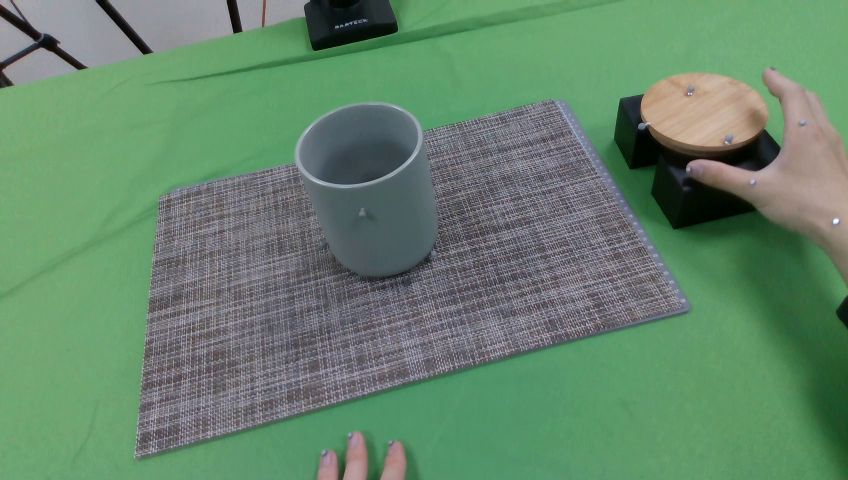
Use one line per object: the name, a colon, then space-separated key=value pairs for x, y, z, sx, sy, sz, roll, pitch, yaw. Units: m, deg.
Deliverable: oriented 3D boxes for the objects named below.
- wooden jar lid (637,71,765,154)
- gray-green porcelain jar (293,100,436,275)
wooden jar lid: x=0.251 y=-0.116 z=0.556 sx=0.108 sy=0.021 sz=0.107 roll=-4 pitch=51 yaw=6
gray-green porcelain jar: x=-0.046 y=-0.039 z=0.530 sx=0.106 sy=0.128 sz=0.105 roll=-5 pitch=49 yaw=6
